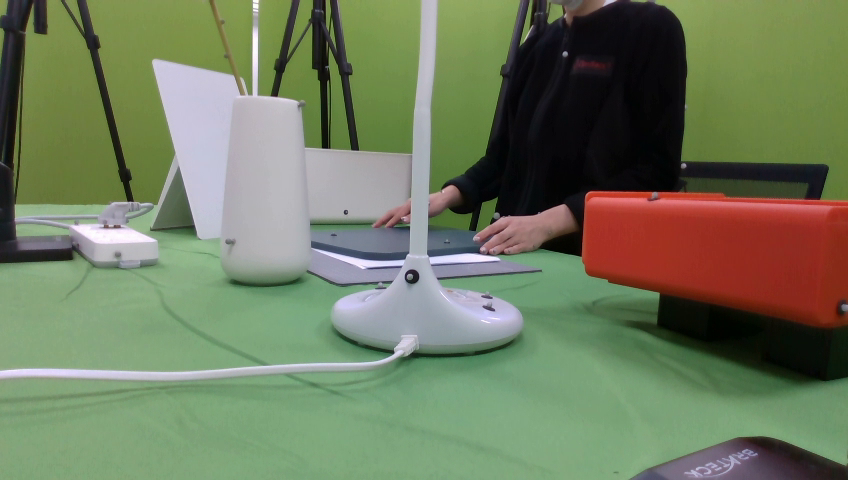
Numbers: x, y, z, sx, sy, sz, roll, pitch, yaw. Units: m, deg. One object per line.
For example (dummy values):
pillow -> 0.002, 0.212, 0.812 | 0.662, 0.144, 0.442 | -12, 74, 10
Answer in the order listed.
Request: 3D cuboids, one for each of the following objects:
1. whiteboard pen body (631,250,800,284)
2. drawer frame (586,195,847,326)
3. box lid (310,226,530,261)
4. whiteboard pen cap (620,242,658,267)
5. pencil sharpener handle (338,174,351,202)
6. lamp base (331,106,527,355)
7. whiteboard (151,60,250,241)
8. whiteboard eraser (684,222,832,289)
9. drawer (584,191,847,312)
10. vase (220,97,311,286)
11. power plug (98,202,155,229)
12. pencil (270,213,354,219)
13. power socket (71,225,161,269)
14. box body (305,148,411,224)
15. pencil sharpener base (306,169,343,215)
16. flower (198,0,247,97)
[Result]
whiteboard pen body -> 0.239, 0.020, 0.512 | 0.017, 0.017, 0.140 | -4, 8, -41
drawer frame -> 0.284, 0.004, 0.508 | 0.203, 0.082, 0.212 | -1, 6, -28
box lid -> -0.024, 0.001, 1.023 | 0.374, 0.015, 0.262 | -4, 10, -44
whiteboard pen cap -> 0.199, 0.013, 0.557 | 0.018, 0.018, 0.033 | -4, 17, -39
pencil sharpener handle -> -0.190, -0.126, 1.459 | 0.031, 0.067, 0.036 | -1, 10, -30
lamp base -> 0.006, -0.012, 0.478 | 0.161, 0.180, 0.179 | 2, 10, 2
whiteboard -> -0.408, -0.140, 1.094 | 0.143, 0.305, 0.218 | -15, 0, 25
whiteboard eraser -> 0.305, 0.013, 0.558 | 0.056, 0.042, 0.112 | -10, 20, -30
drawer -> 0.280, 0.001, 0.513 | 0.195, 0.073, 0.211 | 0, 8, -28
vase -> -0.172, -0.052, 0.662 | 0.098, 0.200, 0.098 | 3, 8, 0
power plug -> -0.416, -0.027, 0.848 | 0.073, 0.052, 0.035 | 0, 8, -28
pencil -> -0.244, -0.054, 1.339 | 0.195, 0.012, 0.012 | -2, 9, -29
power socket -> -0.408, 0.004, 0.793 | 0.072, 0.032, 0.225 | -2, 8, -38
box body -> -0.233, -0.127, 1.374 | 0.366, 0.160, 0.253 | -2, 8, -29
pencil sharpener base -> -0.234, -0.113, 1.433 | 0.077, 0.107, 0.061 | -1, 6, -30
flower -> -0.187, -0.133, 0.648 | 0.038, 0.362, 0.044 | 0, 22, 43
